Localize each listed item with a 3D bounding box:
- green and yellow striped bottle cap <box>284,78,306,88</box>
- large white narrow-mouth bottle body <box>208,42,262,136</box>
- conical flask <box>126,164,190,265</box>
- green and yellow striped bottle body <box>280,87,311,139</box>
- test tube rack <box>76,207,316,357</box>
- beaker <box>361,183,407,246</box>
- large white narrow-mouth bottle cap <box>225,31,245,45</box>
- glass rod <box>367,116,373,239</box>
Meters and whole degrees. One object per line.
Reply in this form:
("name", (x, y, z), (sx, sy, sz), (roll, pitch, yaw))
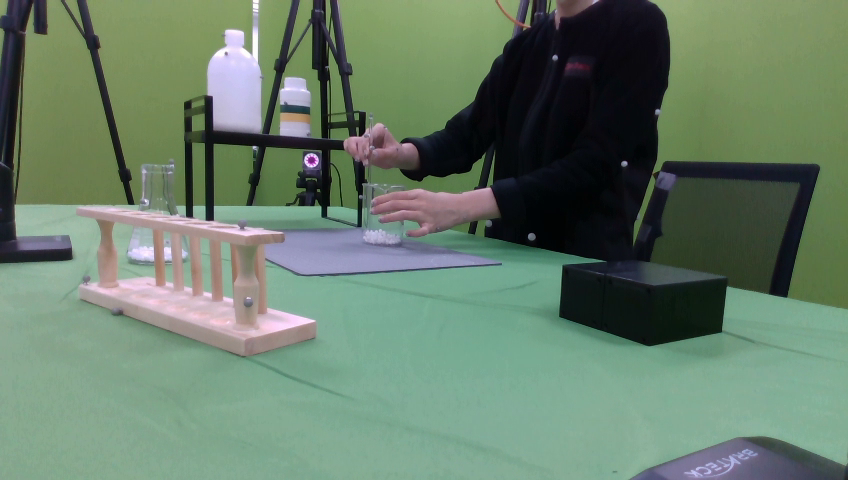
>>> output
("green and yellow striped bottle cap", (-0.268, -0.325, 1.259), (0.045, 0.020, 0.045), (5, 7, 0))
("large white narrow-mouth bottle body", (-0.368, -0.304, 1.181), (0.102, 0.194, 0.101), (3, 9, 0))
("conical flask", (-0.332, -0.033, 0.756), (0.075, 0.122, 0.075), (2, 7, 0))
("green and yellow striped bottle body", (-0.269, -0.274, 1.266), (0.063, 0.119, 0.063), (3, 7, 0))
("test tube rack", (-0.196, 0.023, 0.500), (0.241, 0.085, 0.067), (8, 9, 36))
("beaker", (-0.066, -0.043, 0.993), (0.074, 0.100, 0.084), (1, 8, -7))
("large white narrow-mouth bottle cap", (-0.365, -0.388, 1.166), (0.038, 0.024, 0.037), (3, 9, 0))
("glass rod", (-0.088, -0.100, 0.984), (0.008, 0.199, 0.008), (2, 10, 0))
